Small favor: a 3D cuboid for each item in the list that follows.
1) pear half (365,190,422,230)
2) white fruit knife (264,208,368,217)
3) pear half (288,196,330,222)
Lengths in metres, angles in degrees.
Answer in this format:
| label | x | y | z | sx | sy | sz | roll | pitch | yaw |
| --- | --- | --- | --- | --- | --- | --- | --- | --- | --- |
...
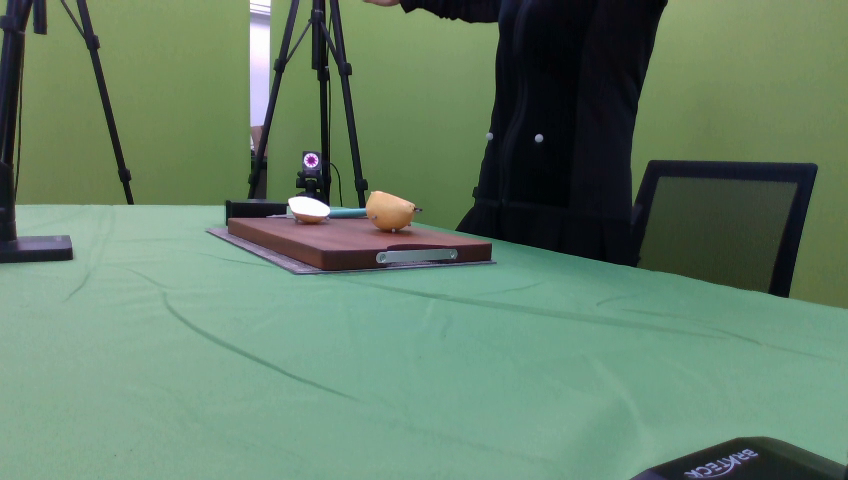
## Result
| label | x | y | z | sx | sy | sz | roll | pitch | yaw |
| --- | --- | --- | --- | --- | --- | --- | --- | --- | --- |
| pear half | -0.045 | -0.043 | 0.955 | 0.077 | 0.056 | 0.109 | 20 | -9 | -41 |
| white fruit knife | -0.192 | -0.050 | 1.128 | 0.208 | 0.016 | 0.027 | -4 | -6 | -25 |
| pear half | -0.202 | -0.048 | 1.041 | 0.070 | 0.031 | 0.088 | 20 | 25 | 14 |
